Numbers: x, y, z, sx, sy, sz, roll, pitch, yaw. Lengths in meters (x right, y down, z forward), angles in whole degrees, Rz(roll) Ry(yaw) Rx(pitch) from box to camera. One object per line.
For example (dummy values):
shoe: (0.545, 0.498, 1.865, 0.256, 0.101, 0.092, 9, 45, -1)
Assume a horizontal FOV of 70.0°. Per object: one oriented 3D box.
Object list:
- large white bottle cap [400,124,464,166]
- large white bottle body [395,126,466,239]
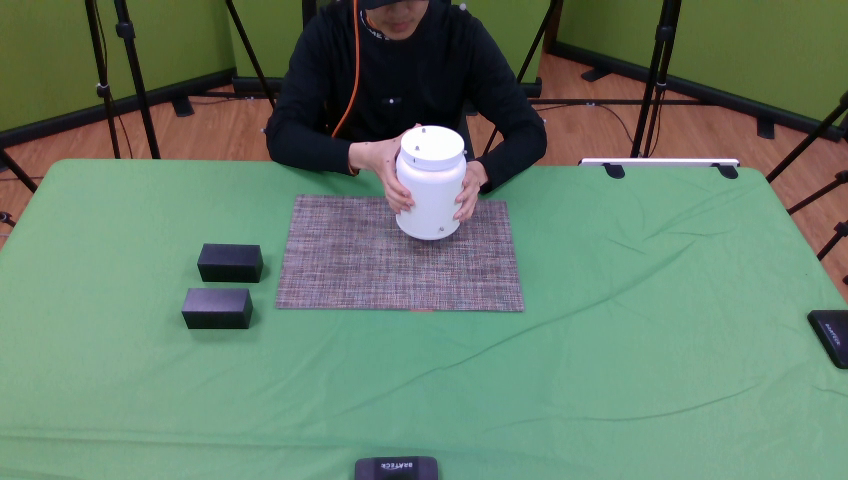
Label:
large white bottle cap: (0.015, -0.172, 1.086, 0.115, 0.018, 0.114, 2, 42, -2)
large white bottle body: (0.011, -0.109, 1.142, 0.131, 0.185, 0.130, 2, 42, -1)
